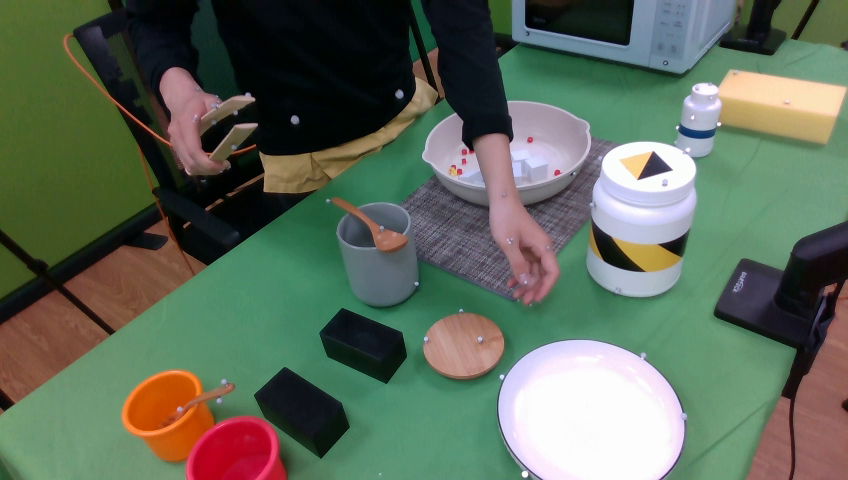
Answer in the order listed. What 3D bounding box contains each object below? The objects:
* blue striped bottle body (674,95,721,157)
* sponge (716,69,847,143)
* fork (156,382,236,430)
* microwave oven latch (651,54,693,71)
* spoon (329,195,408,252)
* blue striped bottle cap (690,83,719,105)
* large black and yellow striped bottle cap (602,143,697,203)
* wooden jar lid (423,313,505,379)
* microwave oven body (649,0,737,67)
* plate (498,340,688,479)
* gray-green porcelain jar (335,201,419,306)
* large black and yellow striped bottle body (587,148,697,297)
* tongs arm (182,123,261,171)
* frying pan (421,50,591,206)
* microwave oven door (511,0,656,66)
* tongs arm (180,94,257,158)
[{"bbox_3d":[0.486,-0.213,1.071,0.063,0.121,0.063,-4,41,4],"label":"blue striped bottle body"},{"bbox_3d":[0.663,-0.256,1.142,0.205,0.061,0.118,19,47,28],"label":"sponge"},{"bbox_3d":[-0.262,0.189,0.690,0.018,0.206,0.028,49,43,-7],"label":"fork"},{"bbox_3d":[0.531,-0.386,1.301,0.078,0.029,0.030,26,51,33],"label":"microwave oven latch"},{"bbox_3d":[-0.082,-0.029,0.828,0.042,0.022,0.192,-31,43,-20],"label":"spoon"},{"bbox_3d":[0.481,-0.251,1.038,0.044,0.021,0.044,-5,39,5],"label":"blue striped bottle cap"},{"bbox_3d":[0.289,-0.088,0.779,0.115,0.019,0.114,-5,40,4],"label":"large black and yellow striped bottle cap"},{"bbox_3d":[0.053,0.142,0.801,0.108,0.021,0.108,-4,39,4],"label":"wooden jar lid"},{"bbox_3d":[0.475,-0.602,1.411,0.438,0.261,0.327,23,50,32],"label":"microwave oven body"},{"bbox_3d":[0.189,0.206,0.692,0.207,0.039,0.206,-4,40,4],"label":"plate"},{"bbox_3d":[-0.064,0.024,0.872,0.106,0.127,0.105,-4,41,4],"label":"gray-green porcelain jar"},{"bbox_3d":[0.298,-0.026,0.835,0.131,0.185,0.130,-4,41,4],"label":"large black and yellow striped bottle body"},{"bbox_3d":[-0.278,-0.121,0.802,0.028,0.028,0.385,-16,7,-29],"label":"tongs arm"},{"bbox_3d":[0.127,-0.233,1.155,0.307,0.103,0.484,-11,49,-5],"label":"frying pan"},{"bbox_3d":[0.350,-0.539,1.348,0.353,0.245,0.039,24,50,31],"label":"microwave oven door"},{"bbox_3d":[-0.281,-0.142,0.800,0.027,0.051,0.382,-12,10,-29],"label":"tongs arm"}]
